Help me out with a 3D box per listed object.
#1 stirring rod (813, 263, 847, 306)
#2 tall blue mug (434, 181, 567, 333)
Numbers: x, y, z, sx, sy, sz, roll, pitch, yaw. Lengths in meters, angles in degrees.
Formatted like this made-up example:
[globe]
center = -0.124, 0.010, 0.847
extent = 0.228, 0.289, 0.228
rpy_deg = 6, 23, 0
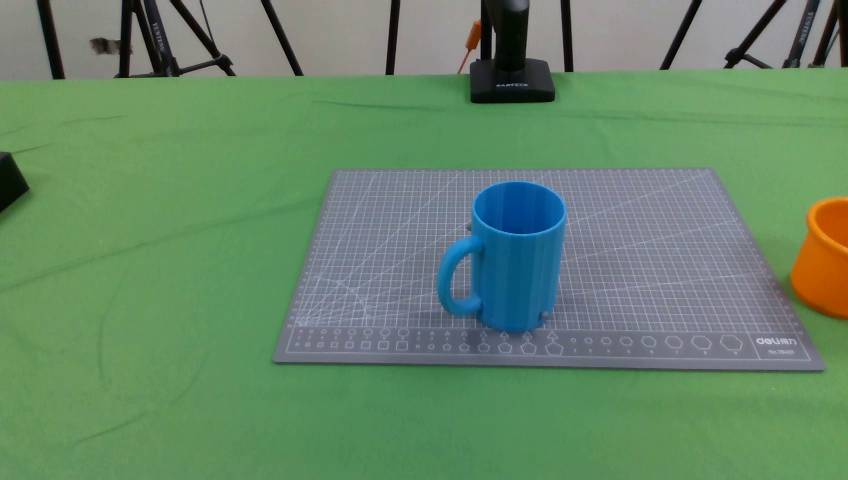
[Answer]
[stirring rod]
center = 0.400, -0.011, 0.512
extent = 0.176, 0.006, 0.014
rpy_deg = -50, 38, 11
[tall blue mug]
center = 0.067, 0.023, 0.506
extent = 0.077, 0.109, 0.107
rpy_deg = 22, 45, 26
